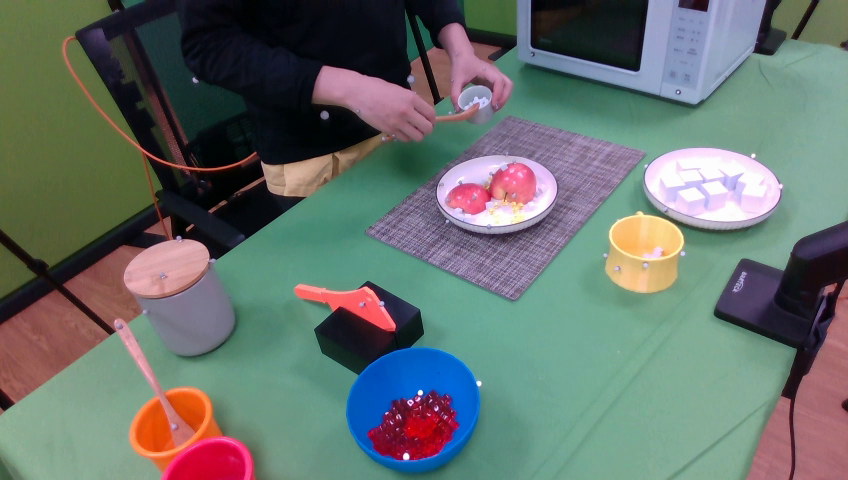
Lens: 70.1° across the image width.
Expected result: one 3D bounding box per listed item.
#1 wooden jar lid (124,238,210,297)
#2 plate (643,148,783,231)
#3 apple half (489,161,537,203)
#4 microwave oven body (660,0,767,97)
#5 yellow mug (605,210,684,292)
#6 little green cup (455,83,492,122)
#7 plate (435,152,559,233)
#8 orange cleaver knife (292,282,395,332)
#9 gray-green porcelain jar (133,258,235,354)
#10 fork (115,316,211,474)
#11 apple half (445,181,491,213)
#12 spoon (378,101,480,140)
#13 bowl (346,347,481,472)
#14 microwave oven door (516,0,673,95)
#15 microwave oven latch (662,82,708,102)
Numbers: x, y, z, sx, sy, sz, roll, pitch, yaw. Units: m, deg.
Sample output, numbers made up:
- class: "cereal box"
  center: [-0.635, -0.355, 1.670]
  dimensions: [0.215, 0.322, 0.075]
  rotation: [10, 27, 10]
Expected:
- class: "wooden jar lid"
  center: [-0.335, 0.039, 0.794]
  dimensions: [0.108, 0.021, 0.108]
  rotation: [-2, 40, 2]
- class: "plate"
  center: [0.464, -0.080, 0.986]
  dimensions: [0.207, 0.039, 0.206]
  rotation: [-4, 41, 4]
- class: "apple half"
  center: [0.154, -0.106, 1.030]
  dimensions: [0.080, 0.053, 0.075]
  rotation: [22, 46, 31]
- class: "microwave oven body"
  center: [0.473, -0.517, 1.313]
  dimensions: [0.438, 0.261, 0.327]
  rotation: [26, 51, 34]
- class: "yellow mug"
  center: [0.318, 0.007, 0.883]
  dimensions: [0.100, 0.064, 0.130]
  rotation: [1, 41, 8]
- class: "little green cup"
  center: [0.089, -0.238, 1.060]
  dimensions: [0.061, 0.039, 0.061]
  rotation: [-7, 74, 25]
- class: "plate"
  center: [0.124, -0.078, 1.026]
  dimensions: [0.209, 0.038, 0.208]
  rotation: [-4, 40, 4]
- class: "orange cleaver knife"
  center: [-0.116, 0.091, 0.835]
  dimensions: [0.209, 0.077, 0.012]
  rotation: [2, 32, 48]
- class: "gray-green porcelain jar"
  center: [-0.327, 0.086, 0.836]
  dimensions: [0.106, 0.127, 0.105]
  rotation: [-4, 41, 4]
- class: "fork"
  center: [-0.308, 0.179, 0.708]
  dimensions: [0.028, 0.018, 0.207]
  rotation: [-30, 89, -22]
- class: "apple half"
  center: [0.076, -0.083, 1.029]
  dimensions: [0.081, 0.033, 0.081]
  rotation: [-1, 42, 2]
- class: "spoon"
  center: [0.010, -0.195, 0.983]
  dimensions: [0.195, 0.022, 0.041]
  rotation: [-20, 19, -24]
- class: "bowl"
  center: [-0.008, 0.205, 0.691]
  dimensions: [0.151, 0.077, 0.150]
  rotation: [-4, 40, 4]
- class: "microwave oven door"
  center: [0.344, -0.458, 1.257]
  dimensions: [0.353, 0.245, 0.039]
  rotation: [26, 51, 33]
- class: "microwave oven latch"
  center: [0.517, -0.298, 1.202]
  dimensions: [0.078, 0.029, 0.030]
  rotation: [27, 52, 34]
